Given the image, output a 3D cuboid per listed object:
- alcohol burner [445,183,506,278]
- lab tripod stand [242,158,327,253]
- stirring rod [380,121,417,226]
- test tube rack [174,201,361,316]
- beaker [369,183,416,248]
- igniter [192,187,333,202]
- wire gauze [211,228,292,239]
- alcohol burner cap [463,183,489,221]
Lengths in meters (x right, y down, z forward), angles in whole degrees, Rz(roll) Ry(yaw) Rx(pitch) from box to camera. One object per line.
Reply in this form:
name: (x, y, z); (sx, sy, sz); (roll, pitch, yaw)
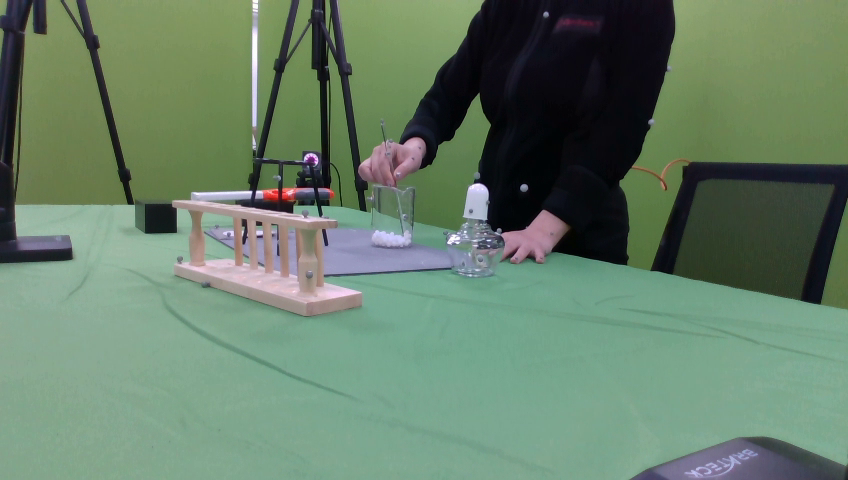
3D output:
alcohol burner: (0.066, -0.013, 0.770); (0.078, 0.119, 0.078); (0, 7, 0)
lab tripod stand: (-0.207, -0.054, 0.895); (0.148, 0.131, 0.148); (3, 5, 0)
stirring rod: (-0.040, -0.103, 0.964); (0.006, 0.176, 0.014); (-28, 22, -26)
test tube rack: (-0.169, 0.010, 0.622); (0.241, 0.085, 0.067); (9, 9, 41)
beaker: (-0.050, -0.039, 0.971); (0.074, 0.100, 0.083); (-1, 9, -25)
igniter: (-0.316, -0.090, 1.213); (0.278, 0.025, 0.057); (-5, 13, -31)
wire gauze: (-0.298, -0.013, 1.039); (0.122, 0.011, 0.124); (-2, 6, -27)
alcohol burner cap: (0.067, -0.048, 0.765); (0.034, 0.048, 0.034); (5, 5, 0)
